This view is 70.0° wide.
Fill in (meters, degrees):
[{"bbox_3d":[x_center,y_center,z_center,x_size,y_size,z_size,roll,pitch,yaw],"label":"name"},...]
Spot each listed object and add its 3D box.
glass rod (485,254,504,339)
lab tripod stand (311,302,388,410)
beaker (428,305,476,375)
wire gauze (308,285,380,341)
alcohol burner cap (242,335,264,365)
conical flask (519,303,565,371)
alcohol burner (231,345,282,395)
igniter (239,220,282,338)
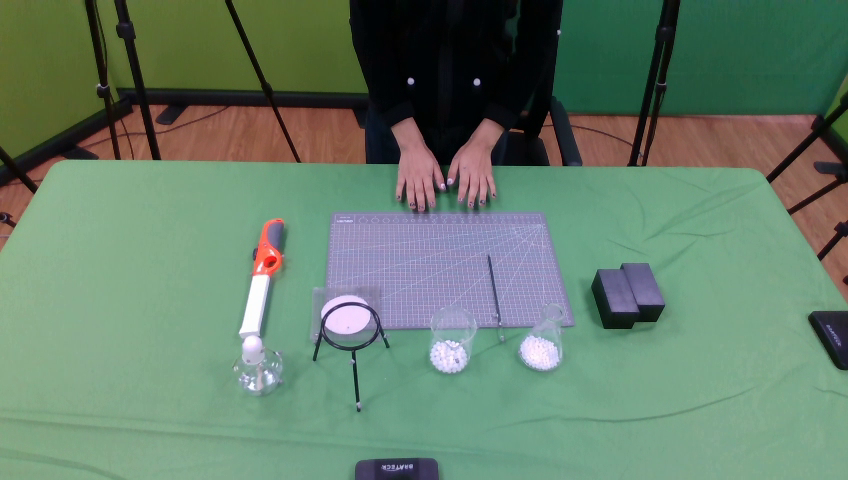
[{"bbox_3d":[0.129,0.099,1.119,0.008,0.008,0.198,-1,46,-4],"label":"glass rod"},{"bbox_3d":[-0.113,0.168,0.951,0.148,0.132,0.147,2,44,-2],"label":"lab tripod stand"},{"bbox_3d":[0.044,0.168,0.987,0.074,0.101,0.083,1,47,-3],"label":"beaker"},{"bbox_3d":[-0.141,0.128,1.071,0.125,0.011,0.120,-1,46,-5],"label":"wire gauze"},{"bbox_3d":[-0.258,0.162,0.908,0.034,0.048,0.033,5,48,-6],"label":"alcohol burner cap"},{"bbox_3d":[0.201,0.155,0.997,0.075,0.122,0.075,2,46,-2],"label":"conical flask"},{"bbox_3d":[-0.260,0.186,0.935,0.078,0.119,0.077,3,44,-3],"label":"alcohol burner"},{"bbox_3d":[-0.298,0.061,1.113,0.057,0.025,0.274,-5,46,4],"label":"igniter"}]
